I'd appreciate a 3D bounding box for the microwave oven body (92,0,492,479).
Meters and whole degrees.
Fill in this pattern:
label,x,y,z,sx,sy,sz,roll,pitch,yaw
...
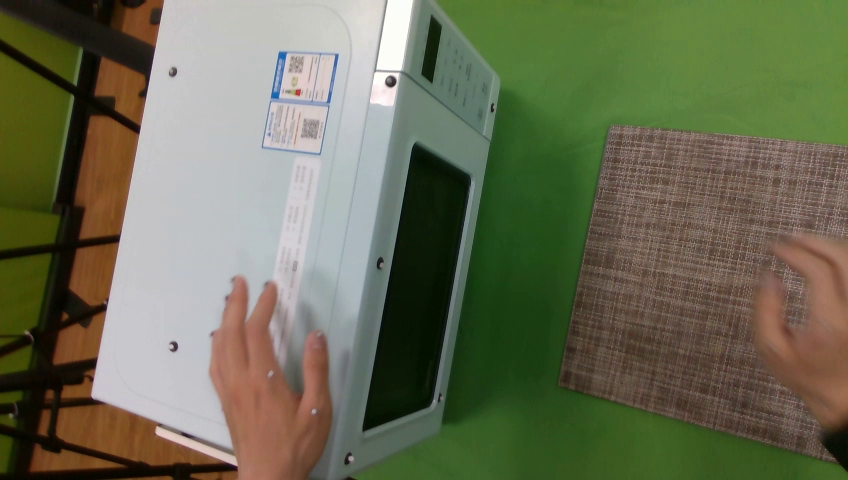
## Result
label,x,y,z,sx,sy,sz,roll,pitch,yaw
microwave oven body,-0.135,-0.016,0.685,0.324,0.262,0.441,9,89,24

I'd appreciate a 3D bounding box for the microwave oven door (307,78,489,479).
label,x,y,z,sx,sy,sz,roll,pitch,yaw
microwave oven door,-0.014,0.046,0.619,0.039,0.245,0.355,9,88,25

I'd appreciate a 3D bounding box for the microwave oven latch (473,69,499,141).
label,x,y,z,sx,sy,sz,roll,pitch,yaw
microwave oven latch,0.068,-0.159,0.715,0.030,0.030,0.079,11,90,24
